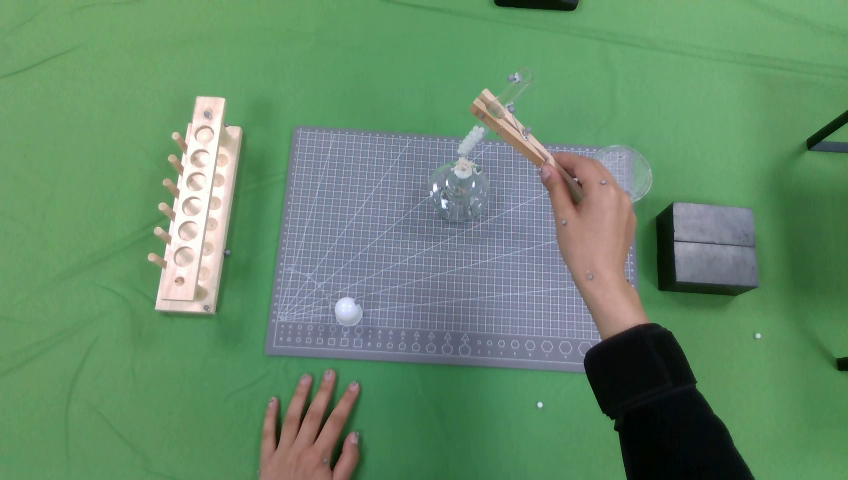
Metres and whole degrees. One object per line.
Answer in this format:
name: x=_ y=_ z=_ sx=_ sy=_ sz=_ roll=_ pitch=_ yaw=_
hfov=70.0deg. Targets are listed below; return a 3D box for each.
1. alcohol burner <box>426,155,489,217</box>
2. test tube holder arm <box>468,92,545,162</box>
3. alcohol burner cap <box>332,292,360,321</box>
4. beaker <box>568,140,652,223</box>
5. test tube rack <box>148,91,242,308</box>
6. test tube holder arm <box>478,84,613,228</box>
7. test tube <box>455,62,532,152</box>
alcohol burner: x=0.041 y=-0.071 z=0.723 sx=0.078 sy=0.119 sz=0.077 roll=0 pitch=74 yaw=-1
test tube holder arm: x=0.079 y=-0.105 z=0.569 sx=0.088 sy=0.015 sz=0.010 roll=38 pitch=64 yaw=-5
alcohol burner cap: x=-0.092 y=0.076 z=0.711 sx=0.034 sy=0.048 sz=0.033 roll=1 pitch=75 yaw=-5
beaker: x=0.219 y=-0.067 z=0.739 sx=0.084 sy=0.101 sz=0.073 roll=2 pitch=73 yaw=-1
test tube rack: x=-0.274 y=-0.047 z=0.715 sx=0.067 sy=0.085 sz=0.241 roll=4 pitch=74 yaw=-2
test tube holder arm: x=0.115 y=-0.079 z=0.574 sx=0.178 sy=0.015 sz=0.013 roll=45 pitch=64 yaw=-2
test tube: x=0.062 y=-0.121 z=0.577 sx=0.017 sy=0.150 sz=0.017 roll=6 pitch=70 yaw=-17
